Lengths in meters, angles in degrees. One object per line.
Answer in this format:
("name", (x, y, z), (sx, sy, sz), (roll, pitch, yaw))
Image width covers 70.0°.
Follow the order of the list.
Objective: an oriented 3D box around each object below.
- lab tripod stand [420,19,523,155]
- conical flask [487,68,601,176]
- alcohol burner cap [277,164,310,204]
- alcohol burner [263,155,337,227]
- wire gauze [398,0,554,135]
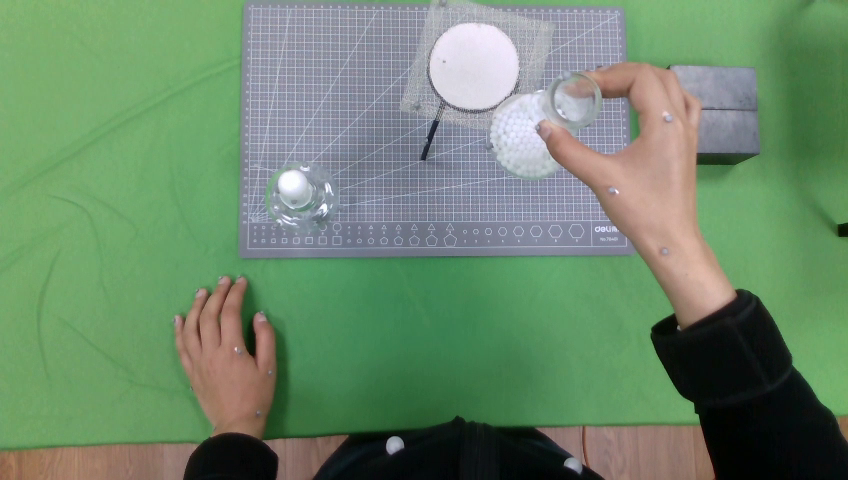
("lab tripod stand", (0.042, -0.164, 0.639), (0.148, 0.132, 0.148), (0, 84, -1))
("conical flask", (0.096, -0.094, 0.465), (0.075, 0.122, 0.075), (0, 87, -6))
("alcohol burner cap", (-0.130, -0.057, 0.592), (0.034, 0.048, 0.033), (1, 79, -7))
("alcohol burner", (-0.131, -0.053, 0.627), (0.078, 0.119, 0.077), (0, 85, -2))
("wire gauze", (0.050, -0.170, 0.572), (0.121, 0.011, 0.125), (17, 83, -1))
